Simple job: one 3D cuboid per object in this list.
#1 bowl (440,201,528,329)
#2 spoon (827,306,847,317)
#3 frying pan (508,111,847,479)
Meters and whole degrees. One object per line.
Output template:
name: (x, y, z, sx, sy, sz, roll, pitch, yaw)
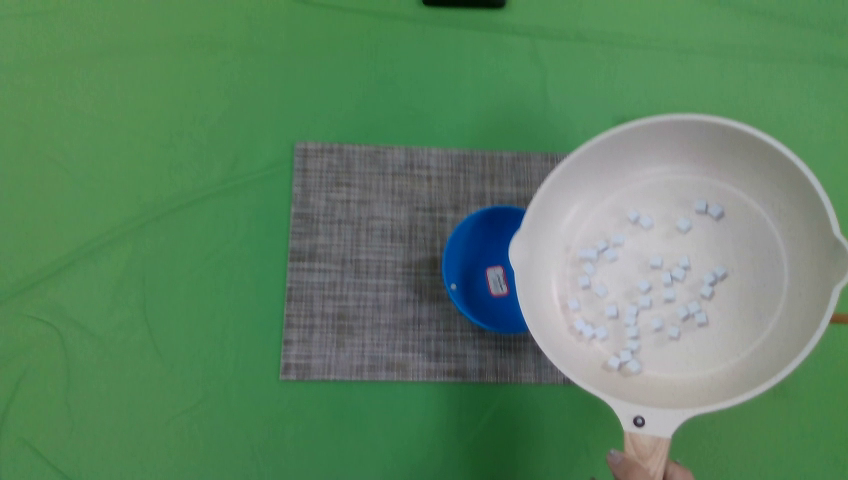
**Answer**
bowl: (0.091, 0.036, 0.724, 0.151, 0.077, 0.150, 2, 75, -5)
spoon: (0.443, 0.085, 0.714, 0.022, 0.192, 0.041, 25, 68, -45)
frying pan: (0.212, 0.112, 0.565, 0.305, 0.104, 0.485, 2, 66, 31)
